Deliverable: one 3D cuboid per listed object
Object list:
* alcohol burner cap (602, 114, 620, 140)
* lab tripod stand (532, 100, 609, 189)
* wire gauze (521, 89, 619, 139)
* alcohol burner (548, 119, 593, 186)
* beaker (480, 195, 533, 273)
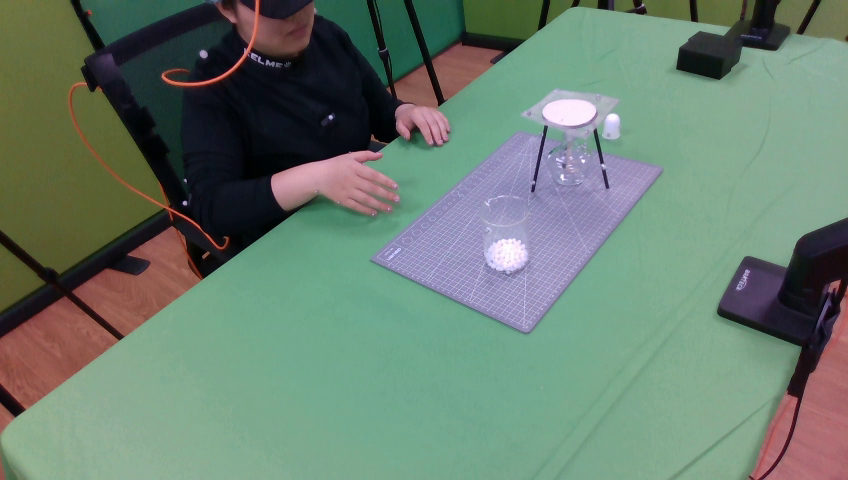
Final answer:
[{"bbox_3d":[0.359,-0.217,1.157,0.034,0.048,0.033,-7,40,6],"label":"alcohol burner cap"},{"bbox_3d":[0.251,-0.161,1.034,0.148,0.132,0.147,-4,39,4],"label":"lab tripod stand"},{"bbox_3d":[0.239,-0.213,0.994,0.124,0.011,0.122,24,49,32],"label":"wire gauze"},{"bbox_3d":[0.252,-0.154,1.042,0.078,0.120,0.077,-7,40,6],"label":"alcohol burner"},{"bbox_3d":[0.122,-0.007,0.904,0.074,0.101,0.083,-30,43,-23],"label":"beaker"}]
